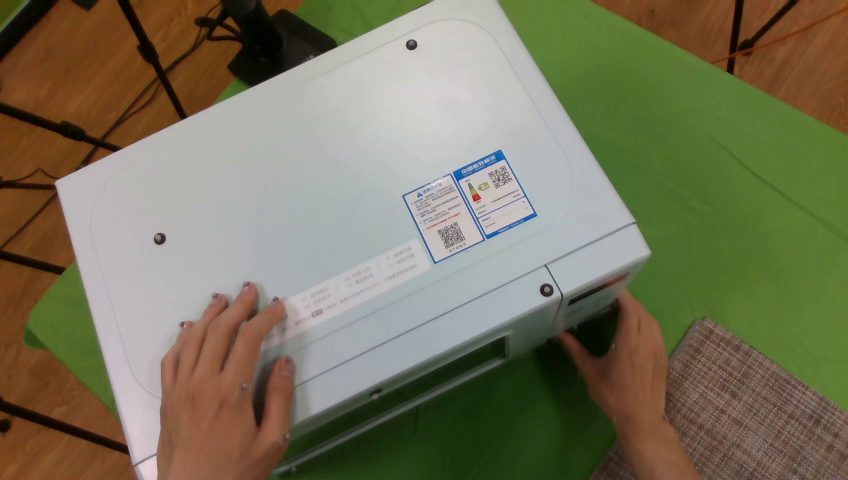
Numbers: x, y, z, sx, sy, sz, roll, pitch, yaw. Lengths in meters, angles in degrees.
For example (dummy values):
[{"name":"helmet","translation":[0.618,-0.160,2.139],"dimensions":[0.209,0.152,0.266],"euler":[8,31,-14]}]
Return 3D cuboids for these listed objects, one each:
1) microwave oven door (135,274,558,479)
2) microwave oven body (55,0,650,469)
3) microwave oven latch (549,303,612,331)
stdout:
[{"name":"microwave oven door","translation":[-0.045,0.144,0.574],"dimensions":[0.356,0.245,0.039],"euler":[-26,70,-1]},{"name":"microwave oven body","translation":[-0.067,0.003,0.627],"dimensions":[0.442,0.262,0.323],"euler":[-26,71,-1]},{"name":"microwave oven latch","translation":[0.167,0.077,0.676],"dimensions":[0.079,0.030,0.030],"euler":[-19,72,2]}]
